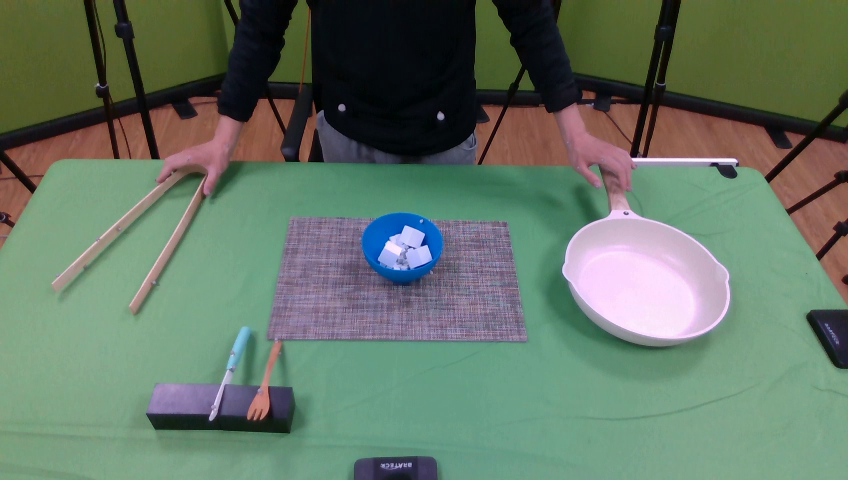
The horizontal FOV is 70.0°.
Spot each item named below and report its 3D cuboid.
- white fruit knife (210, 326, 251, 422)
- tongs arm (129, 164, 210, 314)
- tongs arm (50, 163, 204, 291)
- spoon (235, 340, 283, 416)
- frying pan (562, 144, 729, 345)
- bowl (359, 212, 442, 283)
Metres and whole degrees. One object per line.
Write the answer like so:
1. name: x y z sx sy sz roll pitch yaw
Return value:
1. white fruit knife: -0.300 0.201 0.941 0.016 0.027 0.206 -2 32 1
2. tongs arm: -0.483 -0.016 1.170 0.028 0.028 0.385 5 46 4
3. tongs arm: -0.561 -0.036 1.178 0.050 0.026 0.383 17 46 10
4. spoon: -0.244 0.207 0.932 0.042 0.022 0.193 28 25 -8
5. frying pan: 0.396 -0.008 1.179 0.307 0.103 0.484 1 55 -4
6. bowl: -0.044 0.026 1.125 0.151 0.077 0.150 2 46 -2
